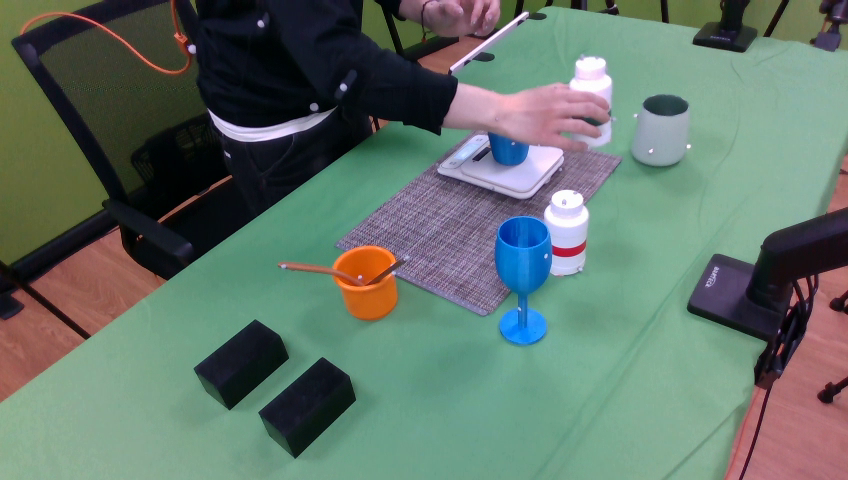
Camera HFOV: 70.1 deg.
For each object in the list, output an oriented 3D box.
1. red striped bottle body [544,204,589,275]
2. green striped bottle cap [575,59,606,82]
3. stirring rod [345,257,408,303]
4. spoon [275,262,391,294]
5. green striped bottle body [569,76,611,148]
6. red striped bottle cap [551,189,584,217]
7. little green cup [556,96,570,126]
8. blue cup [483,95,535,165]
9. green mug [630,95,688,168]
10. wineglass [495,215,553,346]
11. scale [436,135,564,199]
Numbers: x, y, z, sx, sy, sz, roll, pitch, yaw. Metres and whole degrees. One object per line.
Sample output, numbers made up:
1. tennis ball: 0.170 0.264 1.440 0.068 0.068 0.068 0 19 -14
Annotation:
1. red striped bottle body: 0.206 -0.011 0.877 0.063 0.120 0.062 -5 41 5
2. green striped bottle cap: 0.246 -0.251 0.896 0.044 0.020 0.044 -6 38 6
3. stirring rod: -0.067 0.057 0.814 0.014 0.175 0.006 -25 82 -38
4. spoon: -0.120 0.050 0.830 0.041 0.195 0.021 31 97 45
5. green striped bottle body: 0.255 -0.207 0.929 0.063 0.120 0.063 -7 36 6
6. red striped bottle cap: 0.200 -0.052 0.843 0.044 0.018 0.044 -3 41 3
7. little green cup: 0.295 -0.258 1.214 0.061 0.039 0.061 -4 42 4
8. blue cup: 0.149 -0.188 1.053 0.092 0.101 0.092 -6 39 6
9. green mug: 0.421 -0.201 1.081 0.092 0.105 0.125 5 42 15
10. wineglass: 0.127 0.055 0.770 0.074 0.173 0.073 -4 40 4
11. scale: 0.137 -0.141 1.101 0.199 0.032 0.149 22 48 30
